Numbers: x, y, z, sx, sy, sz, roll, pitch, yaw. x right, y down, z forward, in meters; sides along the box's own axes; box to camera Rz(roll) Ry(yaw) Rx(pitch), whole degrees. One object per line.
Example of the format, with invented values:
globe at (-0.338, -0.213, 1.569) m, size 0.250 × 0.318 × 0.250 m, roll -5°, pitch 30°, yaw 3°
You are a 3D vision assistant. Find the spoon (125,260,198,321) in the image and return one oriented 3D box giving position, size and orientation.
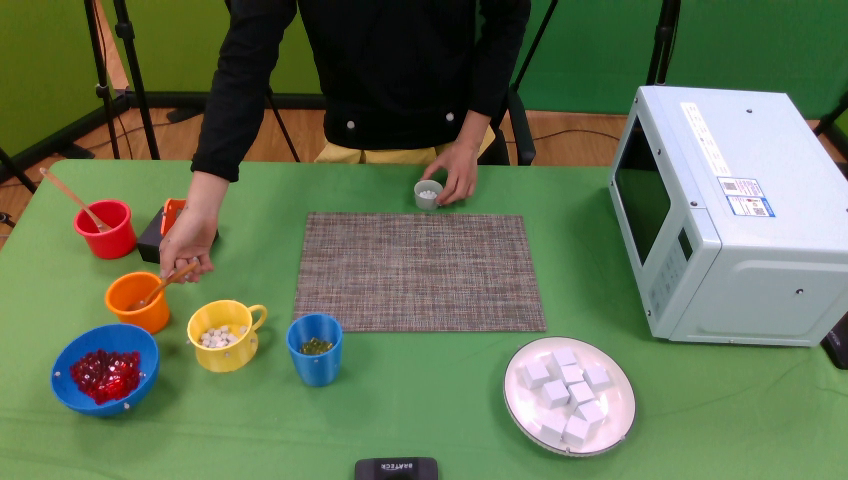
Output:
spoon at (-0.434, 0.083, 0.999) m, size 0.022 × 0.194 × 0.041 m, roll 34°, pitch 34°, yaw -35°

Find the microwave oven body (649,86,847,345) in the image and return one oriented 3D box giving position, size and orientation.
microwave oven body at (0.568, -0.053, 1.118) m, size 0.326 × 0.261 × 0.439 m, roll 2°, pitch 45°, yaw -1°

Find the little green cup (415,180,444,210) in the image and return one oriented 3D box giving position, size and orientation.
little green cup at (0.011, -0.093, 1.279) m, size 0.061 × 0.039 × 0.061 m, roll 4°, pitch 47°, yaw -4°

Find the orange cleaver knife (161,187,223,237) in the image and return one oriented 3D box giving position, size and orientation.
orange cleaver knife at (-0.448, -0.058, 1.180) m, size 0.012 × 0.077 × 0.211 m, roll 13°, pitch 17°, yaw 6°

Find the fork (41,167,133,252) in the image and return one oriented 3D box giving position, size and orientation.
fork at (-0.624, -0.056, 1.121) m, size 0.208 × 0.018 × 0.028 m, roll 50°, pitch 51°, yaw -15°

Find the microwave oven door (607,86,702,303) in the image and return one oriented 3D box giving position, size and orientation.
microwave oven door at (0.423, -0.094, 1.141) m, size 0.039 × 0.245 × 0.353 m, roll 2°, pitch 46°, yaw -1°

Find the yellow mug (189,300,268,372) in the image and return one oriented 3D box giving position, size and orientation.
yellow mug at (-0.316, 0.148, 1.002) m, size 0.131 × 0.064 × 0.099 m, roll -32°, pitch 56°, yaw -31°

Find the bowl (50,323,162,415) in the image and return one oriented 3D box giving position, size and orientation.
bowl at (-0.472, 0.209, 0.924) m, size 0.151 × 0.077 × 0.150 m, roll 2°, pitch 45°, yaw -2°

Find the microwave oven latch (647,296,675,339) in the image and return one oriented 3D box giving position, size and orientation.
microwave oven latch at (0.413, 0.134, 1.061) m, size 0.030 × 0.029 × 0.078 m, roll 5°, pitch 45°, yaw 2°

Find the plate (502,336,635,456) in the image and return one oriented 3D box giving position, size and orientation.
plate at (0.225, 0.248, 0.963) m, size 0.208 × 0.039 × 0.206 m, roll 2°, pitch 46°, yaw -2°

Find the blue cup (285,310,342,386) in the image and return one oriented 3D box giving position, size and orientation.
blue cup at (-0.170, 0.180, 0.958) m, size 0.093 × 0.101 × 0.092 m, roll 2°, pitch 44°, yaw -1°
